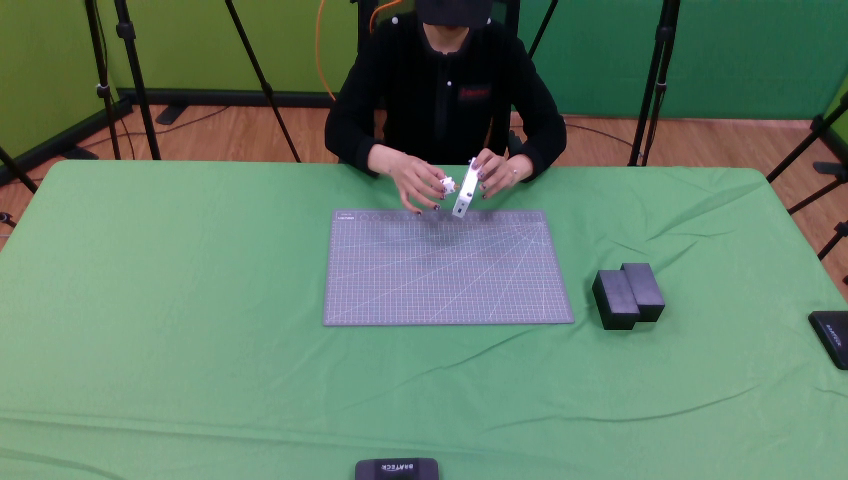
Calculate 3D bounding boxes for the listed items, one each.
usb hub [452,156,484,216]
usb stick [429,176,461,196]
[{"bbox_3d":[0.086,-0.106,1.176,0.025,0.049,0.124,22,49,-2],"label":"usb hub"},{"bbox_3d":[0.043,-0.107,1.182,0.059,0.027,0.021,-12,39,22],"label":"usb stick"}]
